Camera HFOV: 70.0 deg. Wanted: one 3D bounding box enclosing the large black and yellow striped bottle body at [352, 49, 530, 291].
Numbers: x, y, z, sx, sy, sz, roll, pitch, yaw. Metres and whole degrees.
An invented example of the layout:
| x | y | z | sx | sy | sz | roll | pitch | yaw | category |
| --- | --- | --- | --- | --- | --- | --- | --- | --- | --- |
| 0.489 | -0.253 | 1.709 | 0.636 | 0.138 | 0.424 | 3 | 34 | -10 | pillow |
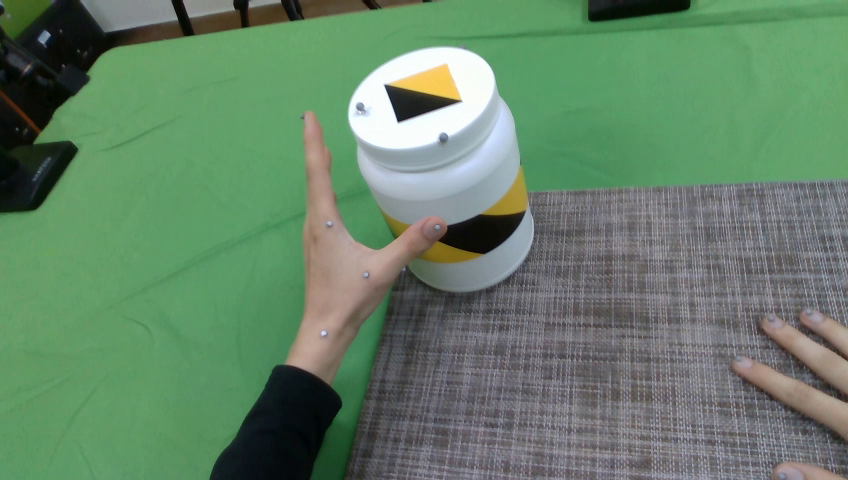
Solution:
| x | y | z | sx | sy | sz | roll | pitch | yaw | category |
| --- | --- | --- | --- | --- | --- | --- | --- | --- | --- |
| 0.016 | -0.055 | 0.521 | 0.130 | 0.186 | 0.129 | -9 | 52 | 12 | large black and yellow striped bottle body |

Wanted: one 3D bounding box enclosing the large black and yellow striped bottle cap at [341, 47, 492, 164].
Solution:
| x | y | z | sx | sy | sz | roll | pitch | yaw | category |
| --- | --- | --- | --- | --- | --- | --- | --- | --- | --- |
| -0.006 | -0.104 | 0.456 | 0.115 | 0.019 | 0.114 | -8 | 51 | 10 | large black and yellow striped bottle cap |
